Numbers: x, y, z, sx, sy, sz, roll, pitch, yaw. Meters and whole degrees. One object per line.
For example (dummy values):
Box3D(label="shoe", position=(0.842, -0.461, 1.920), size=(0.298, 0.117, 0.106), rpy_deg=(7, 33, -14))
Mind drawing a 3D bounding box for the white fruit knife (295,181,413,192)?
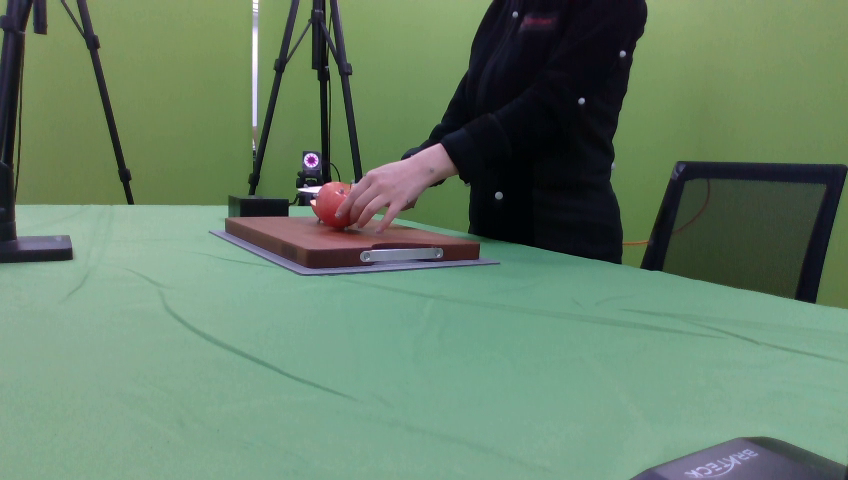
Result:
Box3D(label="white fruit knife", position=(-0.115, -0.089, 1.022), size=(0.208, 0.016, 0.027), rpy_deg=(-4, 36, -29))

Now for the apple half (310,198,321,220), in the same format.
Box3D(label="apple half", position=(-0.160, -0.044, 1.036), size=(0.081, 0.033, 0.081), rpy_deg=(16, 15, -4))

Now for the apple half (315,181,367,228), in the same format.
Box3D(label="apple half", position=(-0.129, -0.049, 0.946), size=(0.081, 0.053, 0.074), rpy_deg=(9, -40, -38))
